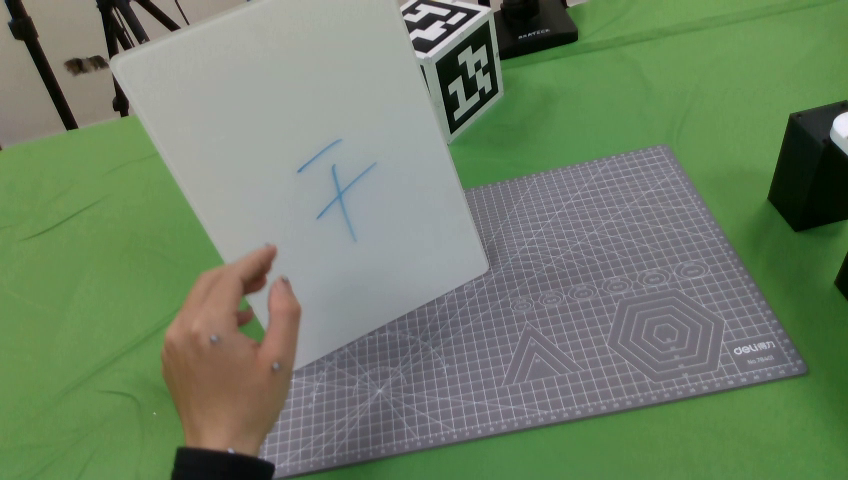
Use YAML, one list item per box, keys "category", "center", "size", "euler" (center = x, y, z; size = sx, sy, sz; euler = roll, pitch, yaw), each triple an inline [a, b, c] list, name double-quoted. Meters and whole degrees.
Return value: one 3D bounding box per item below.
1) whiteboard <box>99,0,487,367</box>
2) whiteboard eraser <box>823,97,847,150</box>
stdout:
- category: "whiteboard"
  center: [-0.105, -0.079, 0.568]
  size: [0.217, 0.308, 0.142]
  euler: [-27, 28, -9]
- category: "whiteboard eraser"
  center: [0.347, -0.077, 0.461]
  size: [0.041, 0.019, 0.100]
  euler: [-13, 47, 1]
